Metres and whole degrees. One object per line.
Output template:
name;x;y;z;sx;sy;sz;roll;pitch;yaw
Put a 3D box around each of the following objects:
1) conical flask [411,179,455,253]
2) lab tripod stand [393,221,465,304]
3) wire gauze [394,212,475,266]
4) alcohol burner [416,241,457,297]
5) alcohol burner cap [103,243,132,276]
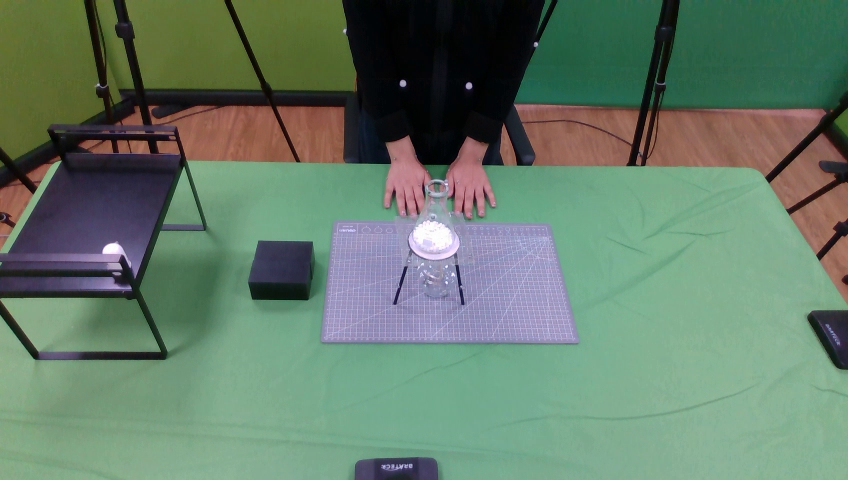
conical flask;0.018;-0.042;0.986;0.075;0.122;0.075;2;47;-2
lab tripod stand;0.010;0.046;1.075;0.148;0.132;0.147;2;48;-2
wire gauze;0.015;-0.001;1.029;0.125;0.011;0.120;-5;45;-5
alcohol burner;0.024;0.047;1.088;0.078;0.120;0.077;1;47;-1
alcohol burner cap;-0.446;0.025;0.875;0.034;0.048;0.033;3;46;-3
